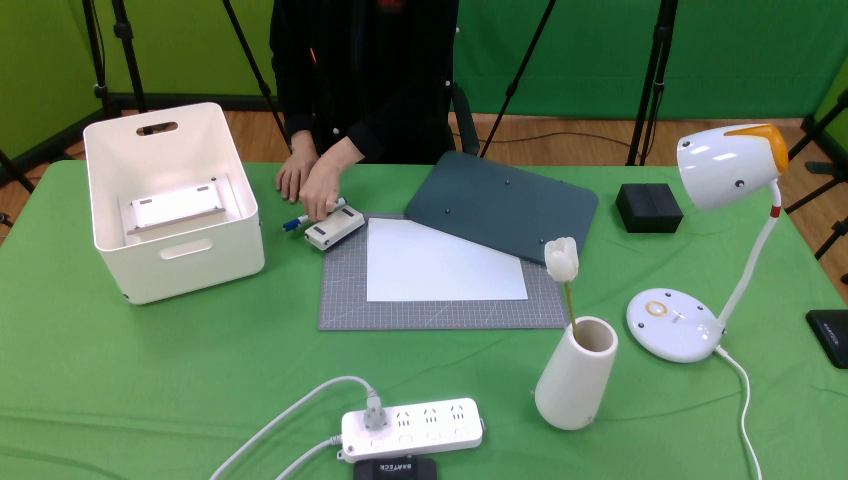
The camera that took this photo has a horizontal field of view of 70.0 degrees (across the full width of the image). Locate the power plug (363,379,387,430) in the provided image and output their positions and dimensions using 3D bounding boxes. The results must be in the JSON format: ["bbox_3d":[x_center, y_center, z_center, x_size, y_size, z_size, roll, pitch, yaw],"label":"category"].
[{"bbox_3d":[-0.071,0.252,0.911,0.035,0.053,0.072,3,40,0],"label":"power plug"}]

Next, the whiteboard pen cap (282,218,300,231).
[{"bbox_3d":[-0.263,-0.032,1.198,0.033,0.018,0.018,-28,54,-31],"label":"whiteboard pen cap"}]

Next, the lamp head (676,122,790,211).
[{"bbox_3d":[0.423,-0.104,0.819,0.122,0.113,0.112,-13,33,40],"label":"lamp head"}]

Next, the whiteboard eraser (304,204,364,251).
[{"bbox_3d":[-0.176,-0.022,1.188,0.055,0.042,0.112,35,53,26],"label":"whiteboard eraser"}]

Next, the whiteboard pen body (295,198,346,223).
[{"bbox_3d":[-0.219,-0.056,1.228,0.141,0.017,0.017,-26,54,-30],"label":"whiteboard pen body"}]

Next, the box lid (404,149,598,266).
[{"bbox_3d":[0.171,-0.073,1.289,0.371,0.015,0.262,19,47,14],"label":"box lid"}]

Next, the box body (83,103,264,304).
[{"bbox_3d":[-0.465,-0.076,1.137,0.254,0.161,0.361,-16,49,-19],"label":"box body"}]

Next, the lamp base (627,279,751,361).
[{"bbox_3d":[0.460,0.100,1.027,0.178,0.181,0.160,27,51,17],"label":"lamp base"}]

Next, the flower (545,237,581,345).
[{"bbox_3d":[0.213,0.137,0.846,0.038,0.364,0.044,21,55,40],"label":"flower"}]

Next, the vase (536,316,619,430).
[{"bbox_3d":[0.229,0.200,0.901,0.098,0.201,0.097,3,46,-3],"label":"vase"}]

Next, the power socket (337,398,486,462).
[{"bbox_3d":[-0.018,0.285,0.914,0.227,0.033,0.071,-4,46,-8],"label":"power socket"}]

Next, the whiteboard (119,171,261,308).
[{"bbox_3d":[-0.464,-0.060,1.137,0.217,0.144,0.303,-19,51,-17],"label":"whiteboard"}]
